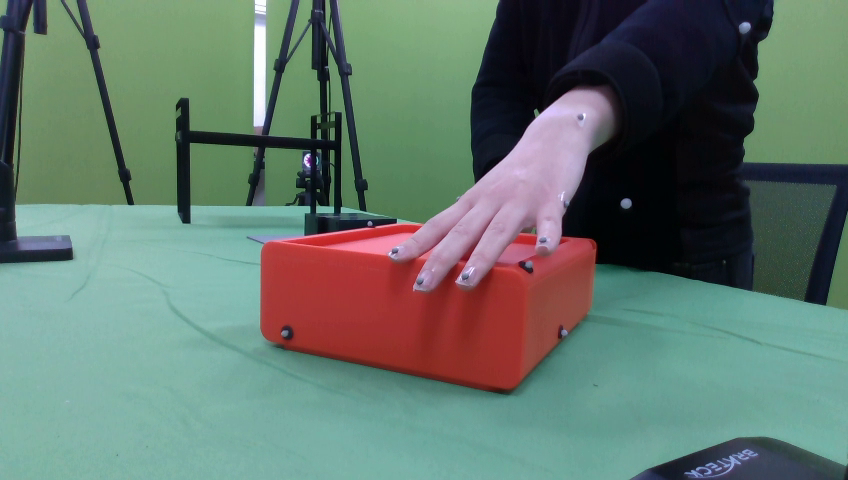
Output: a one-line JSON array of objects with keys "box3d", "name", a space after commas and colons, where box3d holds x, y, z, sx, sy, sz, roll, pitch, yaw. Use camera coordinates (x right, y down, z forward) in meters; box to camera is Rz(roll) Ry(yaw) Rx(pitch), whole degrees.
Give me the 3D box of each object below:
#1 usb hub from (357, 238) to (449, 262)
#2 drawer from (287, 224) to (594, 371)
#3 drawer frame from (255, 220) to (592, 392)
[{"box3d": [-0.028, 0.013, 0.855, 0.126, 0.025, 0.049, -2, 8, -33], "name": "usb hub"}, {"box3d": [0.025, 0.036, 0.514, 0.194, 0.073, 0.212, 7, 9, 25], "name": "drawer"}, {"box3d": [0.014, 0.036, 0.490, 0.201, 0.082, 0.214, 6, 9, 25], "name": "drawer frame"}]
